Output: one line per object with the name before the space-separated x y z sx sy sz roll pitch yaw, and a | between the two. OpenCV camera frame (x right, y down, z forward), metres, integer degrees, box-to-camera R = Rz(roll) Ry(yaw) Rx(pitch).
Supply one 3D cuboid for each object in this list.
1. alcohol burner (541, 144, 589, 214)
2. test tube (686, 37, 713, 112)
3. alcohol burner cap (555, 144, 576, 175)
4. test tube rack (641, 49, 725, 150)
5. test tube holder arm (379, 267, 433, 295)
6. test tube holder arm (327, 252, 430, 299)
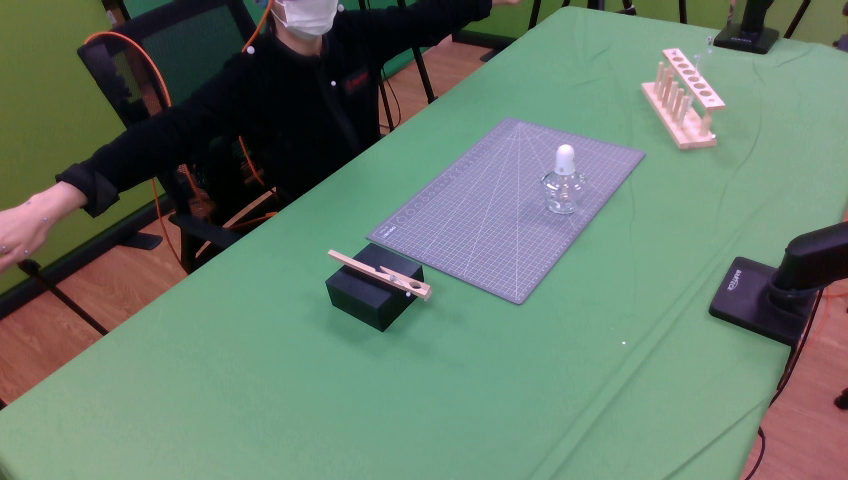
alcohol burner | 0.229 -0.102 0.983 0.078 0.119 0.077 -6 41 5
test tube | 0.509 -0.306 1.128 0.017 0.151 0.017 -1 45 1
alcohol burner cap | 0.225 -0.129 0.958 0.034 0.048 0.033 -6 37 5
test tube rack | 0.495 -0.279 1.175 0.067 0.085 0.241 -5 41 3
test tube holder arm | -0.027 0.057 0.837 0.087 0.015 0.010 18 54 28
test tube holder arm | -0.068 0.049 0.855 0.177 0.015 0.013 18 54 27
